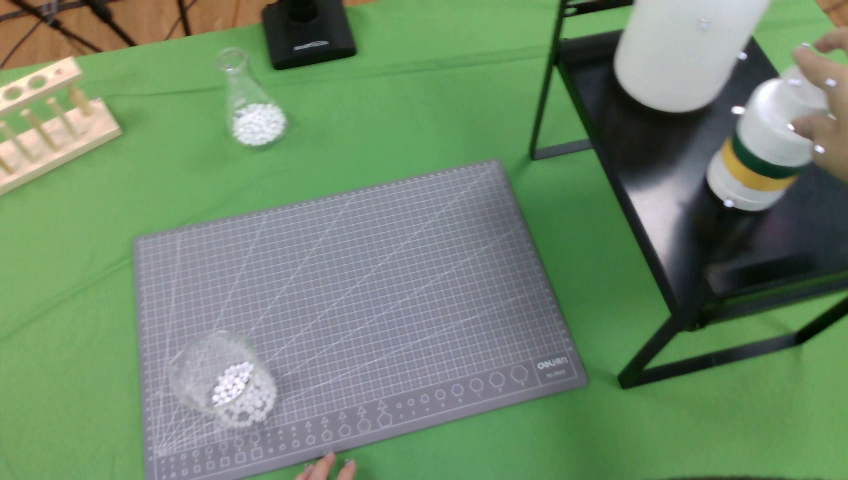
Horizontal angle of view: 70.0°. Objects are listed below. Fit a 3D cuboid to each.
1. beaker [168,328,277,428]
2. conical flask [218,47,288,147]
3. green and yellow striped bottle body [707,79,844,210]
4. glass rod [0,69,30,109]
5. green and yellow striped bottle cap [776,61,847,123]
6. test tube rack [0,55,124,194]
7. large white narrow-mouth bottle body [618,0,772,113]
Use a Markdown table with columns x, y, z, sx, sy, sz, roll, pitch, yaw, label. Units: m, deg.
| x | y | z | sx | sy | sz | roll | pitch | yaw | label |
| --- | --- | --- | --- | --- | --- | --- | --- | --- | --- |
| -0.188 | 0.136 | 0.580 | 0.084 | 0.101 | 0.073 | 5 | 61 | 4 | beaker |
| -0.214 | -0.177 | 0.737 | 0.075 | 0.123 | 0.074 | 0 | 61 | 1 | conical flask |
| 0.280 | -0.080 | 0.481 | 0.063 | 0.120 | 0.062 | 0 | 62 | 0 | green and yellow striped bottle body |
| -0.487 | -0.193 | 0.691 | 0.008 | 0.201 | 0.008 | -2 | 54 | 3 | glass rod |
| 0.281 | -0.107 | 0.436 | 0.045 | 0.020 | 0.045 | 0 | 63 | 1 | green and yellow striped bottle cap |
| -0.506 | -0.121 | 0.728 | 0.242 | 0.086 | 0.066 | -32 | 66 | -16 | test tube rack |
| 0.233 | -0.203 | 0.506 | 0.102 | 0.196 | 0.101 | -1 | 61 | 2 | large white narrow-mouth bottle body |
